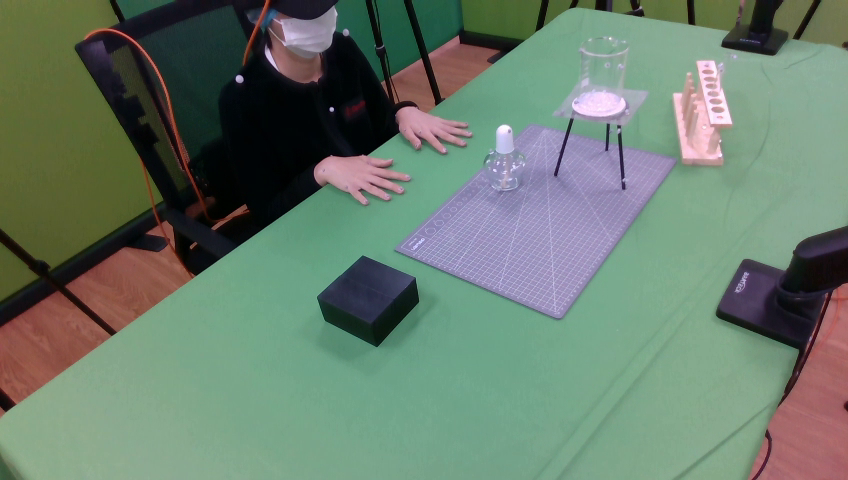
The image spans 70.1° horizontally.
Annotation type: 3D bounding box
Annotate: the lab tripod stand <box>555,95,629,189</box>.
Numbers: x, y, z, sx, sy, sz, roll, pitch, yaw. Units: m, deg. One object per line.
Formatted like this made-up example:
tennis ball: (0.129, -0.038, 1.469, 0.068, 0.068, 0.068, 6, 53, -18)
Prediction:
lab tripod stand: (0.300, -0.174, 1.045, 0.148, 0.132, 0.147, -5, 38, 5)

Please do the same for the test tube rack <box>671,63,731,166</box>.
test tube rack: (0.513, -0.241, 1.132, 0.066, 0.085, 0.242, 4, 41, 14)

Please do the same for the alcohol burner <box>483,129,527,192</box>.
alcohol burner: (0.141, -0.144, 1.050, 0.078, 0.119, 0.077, -4, 42, 4)

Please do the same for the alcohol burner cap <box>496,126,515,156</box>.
alcohol burner cap: (0.138, -0.172, 1.028, 0.034, 0.048, 0.033, -5, 38, 5)

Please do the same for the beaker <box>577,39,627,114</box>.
beaker: (0.286, -0.264, 0.976, 0.073, 0.101, 0.084, 25, 49, 33)

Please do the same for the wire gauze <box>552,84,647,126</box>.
wire gauze: (0.293, -0.224, 1.004, 0.120, 0.011, 0.125, 19, 43, 26)

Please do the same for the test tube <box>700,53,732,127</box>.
test tube: (0.521, -0.265, 1.081, 0.017, 0.151, 0.017, -3, 47, 3)
